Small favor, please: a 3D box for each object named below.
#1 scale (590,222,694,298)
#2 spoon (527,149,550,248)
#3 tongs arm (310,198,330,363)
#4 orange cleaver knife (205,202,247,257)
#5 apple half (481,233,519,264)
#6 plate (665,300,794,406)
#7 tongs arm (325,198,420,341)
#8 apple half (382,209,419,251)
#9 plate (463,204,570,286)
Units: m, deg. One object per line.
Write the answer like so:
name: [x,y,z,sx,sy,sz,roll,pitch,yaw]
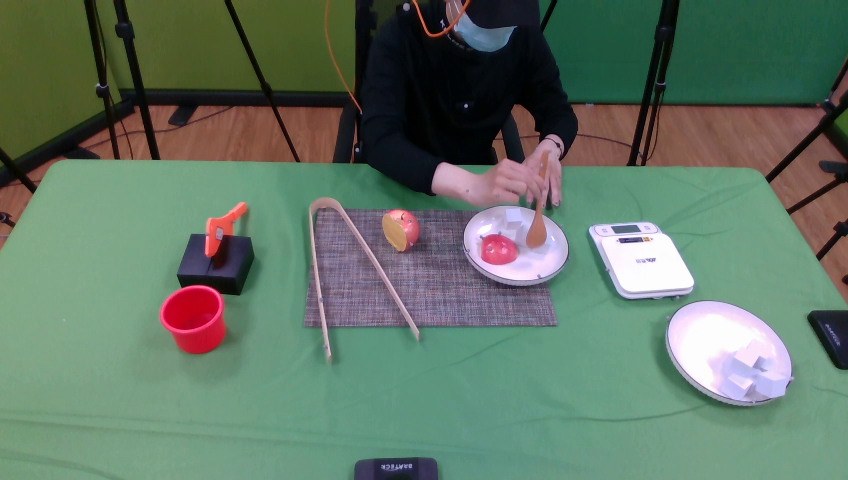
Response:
scale: [0.424,0.031,1.189,0.149,0.032,0.199,-3,46,-7]
spoon: [0.215,-0.073,1.119,0.042,0.194,0.021,-2,19,-8]
tongs arm: [-0.180,0.058,1.117,0.051,0.026,0.382,-9,46,-11]
orange cleaver knife: [-0.374,-0.023,1.151,0.012,0.077,0.210,4,16,1]
apple half: [0.147,0.010,1.174,0.081,0.033,0.081,0,45,0]
plate: [0.513,0.194,1.033,0.208,0.039,0.206,2,46,-2]
tongs arm: [-0.101,0.043,1.140,0.028,0.028,0.385,-22,51,-18]
apple half: [-0.039,-0.022,1.175,0.053,0.075,0.080,-27,50,-31]
plate: [0.177,0.013,1.180,0.209,0.038,0.208,2,46,-2]
